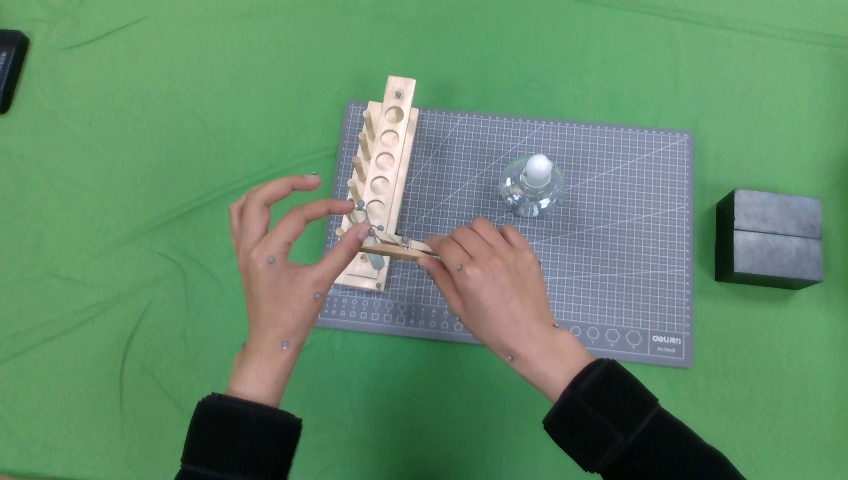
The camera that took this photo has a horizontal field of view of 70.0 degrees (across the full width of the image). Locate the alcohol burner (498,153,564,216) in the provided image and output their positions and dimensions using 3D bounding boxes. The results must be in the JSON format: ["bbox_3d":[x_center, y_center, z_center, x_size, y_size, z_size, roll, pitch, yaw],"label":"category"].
[{"bbox_3d":[0.126,-0.071,0.704,0.078,0.119,0.077,0,76,2],"label":"alcohol burner"}]

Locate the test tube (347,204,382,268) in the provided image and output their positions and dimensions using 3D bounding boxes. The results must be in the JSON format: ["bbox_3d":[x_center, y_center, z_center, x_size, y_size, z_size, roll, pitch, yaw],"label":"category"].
[{"bbox_3d":[-0.053,0.000,0.562,0.017,0.151,0.017,0,72,2],"label":"test tube"}]

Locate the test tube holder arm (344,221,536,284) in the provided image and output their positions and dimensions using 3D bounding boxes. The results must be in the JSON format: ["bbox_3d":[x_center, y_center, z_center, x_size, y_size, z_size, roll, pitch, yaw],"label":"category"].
[{"bbox_3d":[0.013,0.011,0.547,0.178,0.015,0.013,14,77,8],"label":"test tube holder arm"}]

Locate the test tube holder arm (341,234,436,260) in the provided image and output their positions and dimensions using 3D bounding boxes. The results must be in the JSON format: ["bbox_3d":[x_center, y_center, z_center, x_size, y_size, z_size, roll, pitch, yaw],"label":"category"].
[{"bbox_3d":[-0.032,0.007,0.551,0.088,0.015,0.010,8,76,7],"label":"test tube holder arm"}]

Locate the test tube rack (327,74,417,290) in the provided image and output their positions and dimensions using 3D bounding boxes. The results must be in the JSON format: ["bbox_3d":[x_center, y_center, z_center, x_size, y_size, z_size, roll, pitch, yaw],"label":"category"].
[{"bbox_3d":[-0.063,-0.070,0.721,0.067,0.085,0.241,10,76,4],"label":"test tube rack"}]

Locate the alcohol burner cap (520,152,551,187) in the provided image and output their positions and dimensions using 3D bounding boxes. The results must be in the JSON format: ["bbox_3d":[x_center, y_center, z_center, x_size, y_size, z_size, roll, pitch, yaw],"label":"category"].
[{"bbox_3d":[0.124,-0.080,0.669,0.034,0.048,0.033,-1,80,4],"label":"alcohol burner cap"}]
